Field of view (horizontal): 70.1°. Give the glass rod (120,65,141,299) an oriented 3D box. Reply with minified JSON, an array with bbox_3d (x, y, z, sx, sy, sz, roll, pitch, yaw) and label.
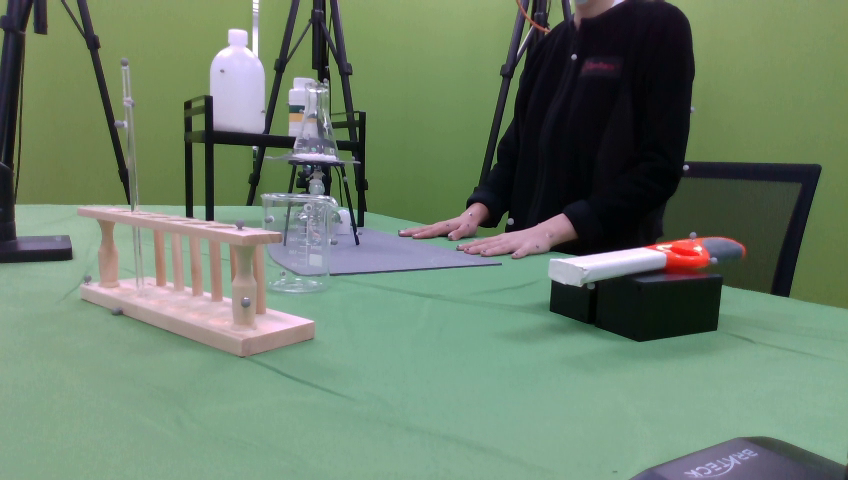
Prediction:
[{"bbox_3d":[-0.249,-0.047,0.513,0.008,0.199,0.008,-1,4,0],"label":"glass rod"}]

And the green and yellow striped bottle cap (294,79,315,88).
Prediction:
[{"bbox_3d":[-0.248,-0.323,1.256,0.045,0.020,0.045,3,9,0],"label":"green and yellow striped bottle cap"}]

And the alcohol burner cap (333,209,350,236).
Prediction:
[{"bbox_3d":[-0.151,-0.033,1.116,0.034,0.048,0.034,3,6,0],"label":"alcohol burner cap"}]

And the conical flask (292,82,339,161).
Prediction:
[{"bbox_3d":[-0.171,-0.185,0.957,0.075,0.122,0.075,2,7,0],"label":"conical flask"}]

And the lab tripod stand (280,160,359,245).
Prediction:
[{"bbox_3d":[-0.176,-0.062,0.973,0.148,0.131,0.148,1,7,0],"label":"lab tripod stand"}]

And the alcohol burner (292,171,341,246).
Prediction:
[{"bbox_3d":[-0.171,-0.050,0.962,0.078,0.119,0.078,1,6,0],"label":"alcohol burner"}]

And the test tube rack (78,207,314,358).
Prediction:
[{"bbox_3d":[-0.196,0.024,0.499,0.241,0.085,0.067,8,8,37],"label":"test tube rack"}]

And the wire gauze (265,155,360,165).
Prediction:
[{"bbox_3d":[-0.181,-0.128,0.969,0.126,0.011,0.121,-3,7,-26],"label":"wire gauze"}]

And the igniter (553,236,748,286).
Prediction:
[{"bbox_3d":[0.221,0.017,0.559,0.278,0.025,0.057,-4,14,-39],"label":"igniter"}]

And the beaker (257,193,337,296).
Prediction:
[{"bbox_3d":[-0.130,0.004,0.628,0.084,0.100,0.074,5,8,15],"label":"beaker"}]

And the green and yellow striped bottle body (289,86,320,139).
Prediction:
[{"bbox_3d":[-0.250,-0.272,1.261,0.063,0.119,0.063,3,7,0],"label":"green and yellow striped bottle body"}]

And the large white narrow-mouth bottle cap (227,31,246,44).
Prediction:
[{"bbox_3d":[-0.361,-0.388,1.166,0.038,0.024,0.037,1,7,0],"label":"large white narrow-mouth bottle cap"}]

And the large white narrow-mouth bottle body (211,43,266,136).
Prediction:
[{"bbox_3d":[-0.361,-0.302,1.176,0.102,0.194,0.102,1,7,0],"label":"large white narrow-mouth bottle body"}]
